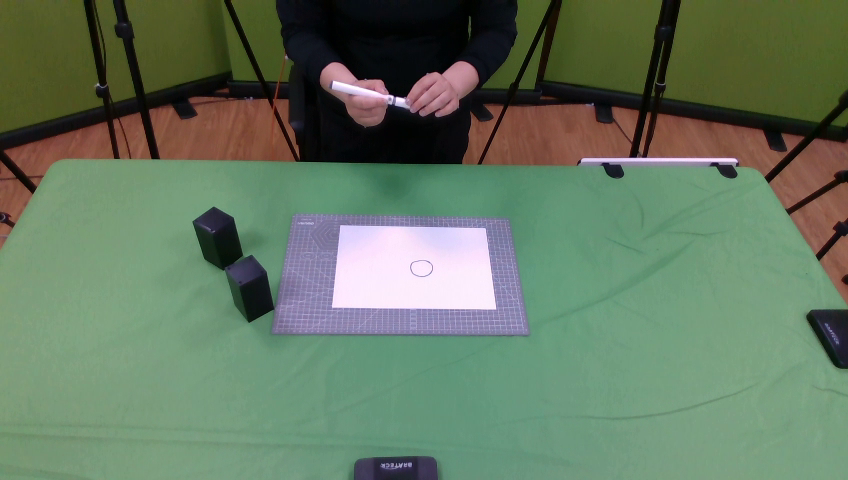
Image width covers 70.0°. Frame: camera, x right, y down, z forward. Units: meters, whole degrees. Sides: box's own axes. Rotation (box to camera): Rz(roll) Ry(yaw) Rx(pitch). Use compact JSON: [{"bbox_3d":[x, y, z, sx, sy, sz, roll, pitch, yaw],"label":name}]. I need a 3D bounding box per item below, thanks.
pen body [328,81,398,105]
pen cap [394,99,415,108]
[{"bbox_3d":[-0.100,-0.262,1.090,0.144,0.017,0.017,12,45,-10],"label":"pen body"},{"bbox_3d":[-0.037,-0.248,1.102,0.038,0.017,0.017,-6,46,-14],"label":"pen cap"}]
